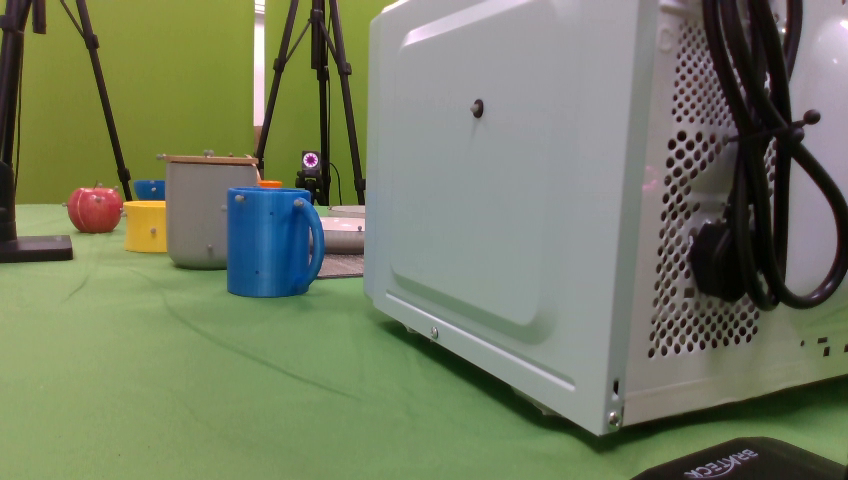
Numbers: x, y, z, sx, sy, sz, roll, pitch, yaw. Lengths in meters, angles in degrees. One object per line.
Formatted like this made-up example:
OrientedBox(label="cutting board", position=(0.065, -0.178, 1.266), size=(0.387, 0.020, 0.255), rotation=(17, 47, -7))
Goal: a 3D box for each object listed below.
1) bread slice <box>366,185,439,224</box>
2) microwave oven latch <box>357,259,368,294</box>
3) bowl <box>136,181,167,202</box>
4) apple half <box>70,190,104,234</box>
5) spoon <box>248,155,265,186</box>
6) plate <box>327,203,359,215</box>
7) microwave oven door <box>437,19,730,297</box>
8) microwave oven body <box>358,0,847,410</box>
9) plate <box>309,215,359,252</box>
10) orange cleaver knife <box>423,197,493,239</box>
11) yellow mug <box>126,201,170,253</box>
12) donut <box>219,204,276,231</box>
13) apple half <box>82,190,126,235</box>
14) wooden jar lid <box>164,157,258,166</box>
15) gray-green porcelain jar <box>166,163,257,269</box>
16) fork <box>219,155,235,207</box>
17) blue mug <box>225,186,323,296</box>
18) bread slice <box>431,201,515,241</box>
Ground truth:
OrientedBox(label="bread slice", position=(-0.047, -0.066, 1.138), size=(0.107, 0.018, 0.134), rotation=(-9, -18, -40))
OrientedBox(label="microwave oven latch", position=(-0.019, 0.031, 0.530), size=(0.079, 0.029, 0.030), rotation=(-1, 7, -27))
OrientedBox(label="bowl", position=(-0.497, -0.076, 1.221), size=(0.151, 0.077, 0.151), rotation=(2, 8, 0))
OrientedBox(label="apple half", position=(-0.552, -0.048, 1.010), size=(0.053, 0.074, 0.081), rotation=(-1, 10, 26))
OrientedBox(label="spoon", position=(-0.417, -0.150, 1.543), size=(0.042, 0.193, 0.021), rotation=(-4, -35, -34))
OrientedBox(label="plate", position=(-0.102, -0.053, 1.299), size=(0.209, 0.038, 0.209), rotation=(2, 8, 0))
OrientedBox(label="microwave oven door", position=(0.181, -0.076, 0.618), size=(0.358, 0.243, 0.039), rotation=(-2, 9, -28))
OrientedBox(label="microwave oven body", position=(0.210, -0.051, 0.471), size=(0.444, 0.260, 0.324), rotation=(-1, 7, -28))
OrientedBox(label="plate", position=(-0.130, -0.011, 0.945), size=(0.208, 0.039, 0.207), rotation=(2, 8, 0))
OrientedBox(label="orange cleaver knife", position=(0.065, -0.041, 1.107), size=(0.012, 0.077, 0.212), rotation=(16, 12, 35))
OrientedBox(label="yellow mug", position=(-0.361, -0.019, 0.866), size=(0.130, 0.064, 0.100), rotation=(6, 9, 27))
OrientedBox(label="donut", position=(-0.316, -0.039, 1.083), size=(0.099, 0.048, 0.099), rotation=(2, 7, 0))
OrientedBox(label="apple half", position=(-0.516, -0.046, 0.994), size=(0.032, 0.081, 0.081), rotation=(0, 6, 26))
OrientedBox(label="wooden jar lid", position=(-0.261, -0.093, 0.746), size=(0.108, 0.020, 0.108), rotation=(0, 9, 0))
OrientedBox(label="gray-green porcelain jar", position=(-0.263, -0.031, 0.754), size=(0.106, 0.126, 0.106), rotation=(2, 7, 0))
OrientedBox(label="fork", position=(-0.459, -0.134, 1.415), size=(0.028, 0.018, 0.207), rotation=(-1, -34, -24))
OrientedBox(label="blue mug", position=(-0.148, 0.000, 0.618), size=(0.116, 0.106, 0.083), rotation=(7, 9, 33))
OrientedBox(label="bread slice", position=(0.089, -0.031, 1.026), size=(0.105, 0.019, 0.131), rotation=(-4, -21, -48))
